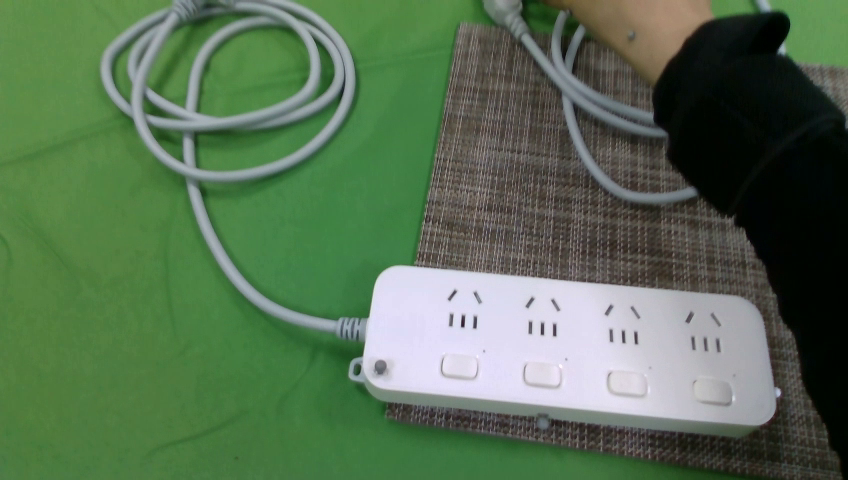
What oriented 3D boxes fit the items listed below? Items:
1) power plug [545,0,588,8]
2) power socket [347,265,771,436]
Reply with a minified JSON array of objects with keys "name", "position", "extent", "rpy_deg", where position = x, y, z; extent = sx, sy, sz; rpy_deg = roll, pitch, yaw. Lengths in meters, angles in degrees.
[{"name":"power plug","position":[0.093,-0.196,0.469],"extent":[0.072,0.035,0.052],"rpy_deg":[38,42,-1]},{"name":"power socket","position":[0.073,0.059,0.327],"extent":[0.227,0.033,0.071],"rpy_deg":[5,62,3]}]
